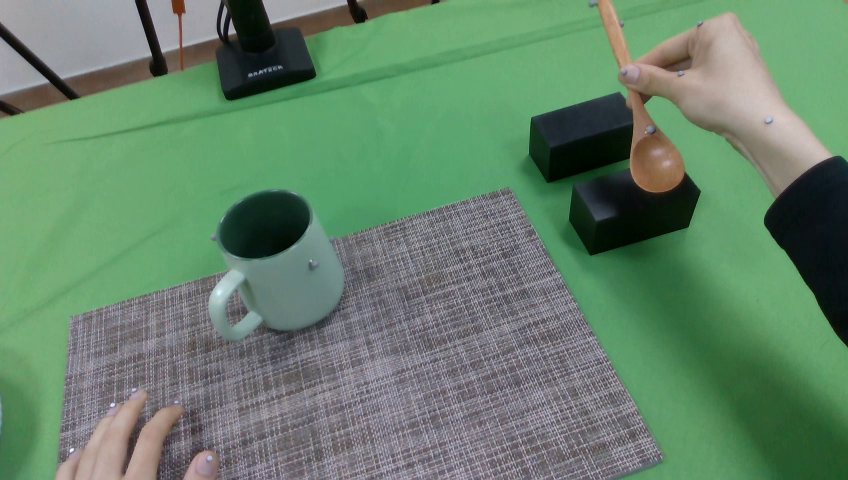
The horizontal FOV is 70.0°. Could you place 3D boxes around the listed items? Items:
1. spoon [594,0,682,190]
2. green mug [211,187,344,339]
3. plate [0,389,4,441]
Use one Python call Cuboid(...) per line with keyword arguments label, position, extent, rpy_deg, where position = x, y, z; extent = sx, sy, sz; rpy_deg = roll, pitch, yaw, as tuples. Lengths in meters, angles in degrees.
Cuboid(label="spoon", position=(0.177, -0.131, 0.518), extent=(0.041, 0.022, 0.192), rpy_deg=(-17, 75, 20))
Cuboid(label="green mug", position=(-0.131, 0.030, 0.521), extent=(0.092, 0.106, 0.125), rpy_deg=(22, 57, 22))
Cuboid(label="plate", position=(-0.439, 0.184, 0.485), extent=(0.209, 0.038, 0.207), rpy_deg=(-3, 51, 5))
